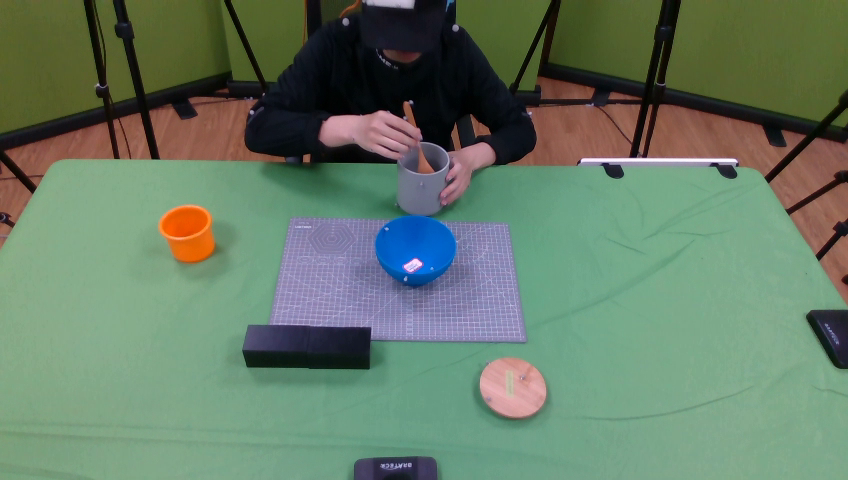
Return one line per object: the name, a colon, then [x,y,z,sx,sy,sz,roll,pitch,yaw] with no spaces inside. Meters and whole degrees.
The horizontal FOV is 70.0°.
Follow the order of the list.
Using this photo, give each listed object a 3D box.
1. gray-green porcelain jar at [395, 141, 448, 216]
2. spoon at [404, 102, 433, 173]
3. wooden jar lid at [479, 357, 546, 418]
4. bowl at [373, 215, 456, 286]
gray-green porcelain jar: [-0.007,-0.120,1.241,0.106,0.127,0.105,2,46,-2]
spoon: [-0.013,-0.177,1.157,0.041,0.195,0.021,-6,37,13]
wooden jar lid: [0.142,0.240,0.979,0.108,0.021,0.107,1,46,-1]
bowl: [-0.019,0.032,1.122,0.151,0.077,0.150,2,46,-2]
